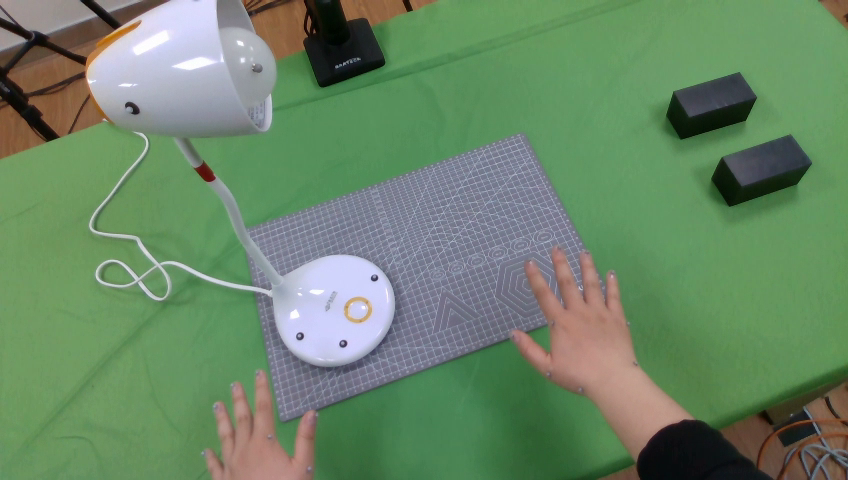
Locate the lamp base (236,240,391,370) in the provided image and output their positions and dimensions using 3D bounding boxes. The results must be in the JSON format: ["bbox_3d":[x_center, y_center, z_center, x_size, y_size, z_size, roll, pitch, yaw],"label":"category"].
[{"bbox_3d":[-0.146,0.058,0.744,0.179,0.182,0.159,3,62,14],"label":"lamp base"}]

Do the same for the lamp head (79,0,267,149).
[{"bbox_3d":[-0.195,-0.122,0.473,0.123,0.113,0.111,-15,61,7],"label":"lamp head"}]
